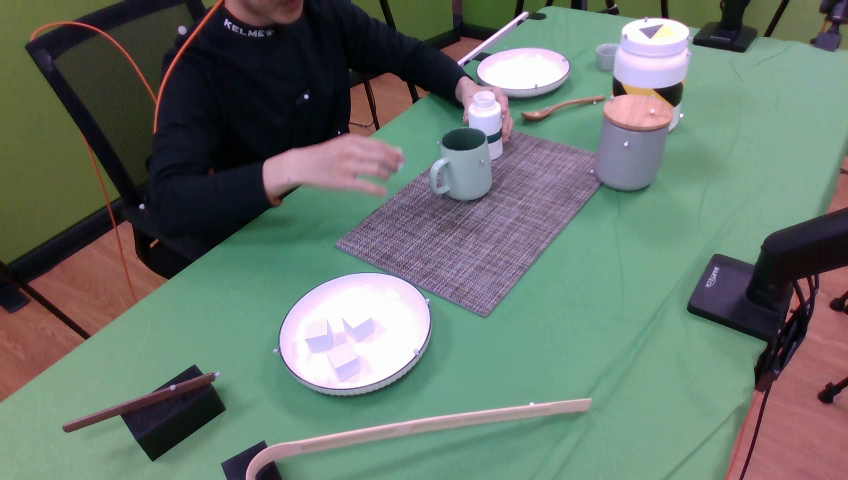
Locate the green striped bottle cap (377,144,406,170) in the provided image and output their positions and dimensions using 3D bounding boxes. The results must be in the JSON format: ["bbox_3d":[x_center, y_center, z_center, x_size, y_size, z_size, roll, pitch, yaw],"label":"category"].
[{"bbox_3d":[-0.051,-0.132,0.957,0.044,0.020,0.044,-13,42,12],"label":"green striped bottle cap"}]

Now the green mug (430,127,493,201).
[{"bbox_3d":[0.060,-0.122,1.034,0.126,0.105,0.091,-35,48,-28],"label":"green mug"}]

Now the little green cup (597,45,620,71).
[{"bbox_3d":[0.423,-0.413,1.376,0.061,0.039,0.061,-4,41,4],"label":"little green cup"}]

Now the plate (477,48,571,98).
[{"bbox_3d":[0.223,-0.371,1.357,0.209,0.038,0.208,-4,41,4],"label":"plate"}]

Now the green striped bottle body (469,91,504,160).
[{"bbox_3d":[0.115,-0.213,1.120,0.063,0.120,0.063,-4,40,4],"label":"green striped bottle body"}]

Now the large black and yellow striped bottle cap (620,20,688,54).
[{"bbox_3d":[0.411,-0.363,1.080,0.115,0.019,0.114,-3,42,4],"label":"large black and yellow striped bottle cap"}]

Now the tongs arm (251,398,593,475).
[{"bbox_3d":[0.008,0.212,0.675,0.389,0.028,0.028,-5,46,-11],"label":"tongs arm"}]

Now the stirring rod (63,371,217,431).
[{"bbox_3d":[-0.337,0.192,0.723,0.177,0.014,0.005,-18,42,-12],"label":"stirring rod"}]

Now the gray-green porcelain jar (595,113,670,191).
[{"bbox_3d":[0.347,-0.155,1.017,0.106,0.127,0.105,-2,44,2],"label":"gray-green porcelain jar"}]

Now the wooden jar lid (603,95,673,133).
[{"bbox_3d":[0.343,-0.200,0.974,0.108,0.021,0.108,-2,39,2],"label":"wooden jar lid"}]

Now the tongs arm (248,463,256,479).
[{"bbox_3d":[0.012,0.262,0.615,0.385,0.026,0.050,2,42,-2],"label":"tongs arm"}]

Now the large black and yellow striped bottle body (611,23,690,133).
[{"bbox_3d":[0.420,-0.299,1.132,0.131,0.185,0.130,-5,40,4],"label":"large black and yellow striped bottle body"}]

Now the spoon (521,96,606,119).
[{"bbox_3d":[0.291,-0.277,1.249,0.194,0.022,0.041,-18,23,-11],"label":"spoon"}]

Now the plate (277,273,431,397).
[{"bbox_3d":[-0.091,0.129,0.821,0.207,0.039,0.206,-4,40,4],"label":"plate"}]
